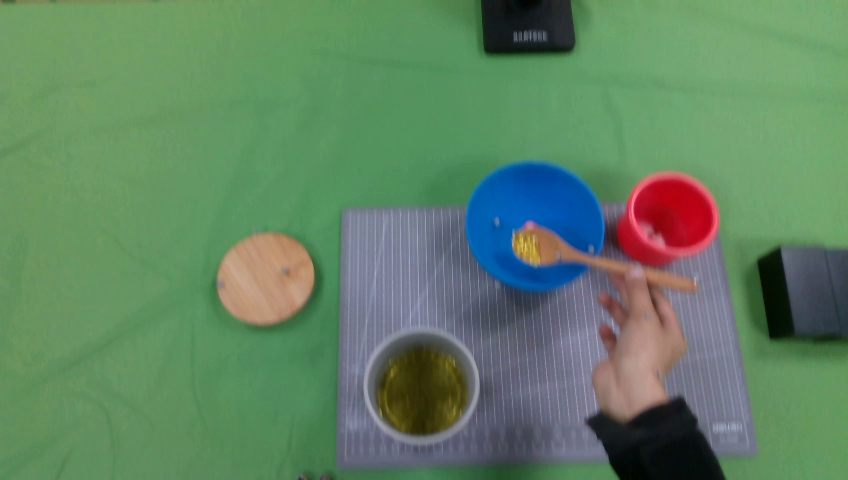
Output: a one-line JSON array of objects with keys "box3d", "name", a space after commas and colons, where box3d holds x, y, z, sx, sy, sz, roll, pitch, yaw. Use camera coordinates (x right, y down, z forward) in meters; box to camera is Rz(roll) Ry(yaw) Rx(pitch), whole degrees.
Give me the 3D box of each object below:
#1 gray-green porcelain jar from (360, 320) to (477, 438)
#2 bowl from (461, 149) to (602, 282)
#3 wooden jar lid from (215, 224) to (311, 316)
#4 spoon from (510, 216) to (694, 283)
[{"box3d": [-0.005, 0.143, 0.602, 0.106, 0.127, 0.105, 0, 72, -1], "name": "gray-green porcelain jar"}, {"box3d": [0.115, -0.017, 0.679, 0.151, 0.077, 0.150, 0, 72, 0], "name": "bowl"}, {"box3d": [-0.183, 0.035, 0.692, 0.108, 0.021, 0.107, 0, 72, 0], "name": "wooden jar lid"}, {"box3d": [0.170, 0.013, 0.607, 0.192, 0.022, 0.041, 19, 95, 40], "name": "spoon"}]
